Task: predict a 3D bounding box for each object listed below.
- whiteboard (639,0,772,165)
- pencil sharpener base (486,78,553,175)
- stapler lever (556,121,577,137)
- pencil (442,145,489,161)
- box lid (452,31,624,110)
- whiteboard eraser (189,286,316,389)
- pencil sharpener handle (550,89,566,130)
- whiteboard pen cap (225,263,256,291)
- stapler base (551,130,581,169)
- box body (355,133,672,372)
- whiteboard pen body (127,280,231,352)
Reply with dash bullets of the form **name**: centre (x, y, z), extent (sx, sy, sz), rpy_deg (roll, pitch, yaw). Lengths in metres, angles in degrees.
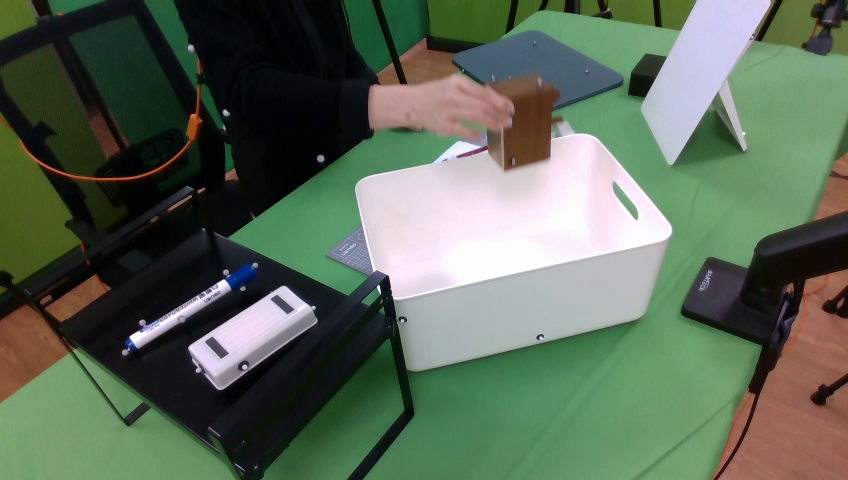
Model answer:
- **whiteboard**: centre (0.543, -0.298, 1.076), extent (0.144, 0.305, 0.216), rpy_deg (12, 40, -7)
- **pencil sharpener base**: centre (0.128, -0.149, 0.795), extent (0.077, 0.107, 0.061), rpy_deg (-14, 36, -9)
- **stapler lever**: centre (0.266, -0.198, 1.128), extent (0.027, 0.040, 0.117), rpy_deg (0, 38, 3)
- **pencil**: centre (0.123, -0.180, 1.175), extent (0.195, 0.012, 0.012), rpy_deg (-19, 42, -17)
- **box lid**: centre (0.256, -0.401, 1.419), extent (0.264, 0.015, 0.368), rpy_deg (-22, 43, -17)
- **whiteboard eraser**: centre (-0.166, 0.096, 0.593), extent (0.113, 0.042, 0.055), rpy_deg (-36, 47, -29)
- **pencil sharpener handle**: centre (0.175, -0.174, 0.799), extent (0.031, 0.068, 0.035), rpy_deg (-14, 49, -9)
- **whiteboard pen cap**: centre (-0.204, 0.041, 0.668), extent (0.033, 0.018, 0.018), rpy_deg (-36, 48, -22)
- **stapler base**: centre (0.268, -0.178, 1.142), extent (0.041, 0.024, 0.130), rpy_deg (0, 37, 3)
- **box body**: centre (0.108, 0.013, 0.834), extent (0.365, 0.161, 0.252), rpy_deg (-12, 41, -6)
- **whiteboard pen body**: centre (-0.248, 0.072, 0.645), extent (0.141, 0.017, 0.017), rpy_deg (-35, 47, -23)
